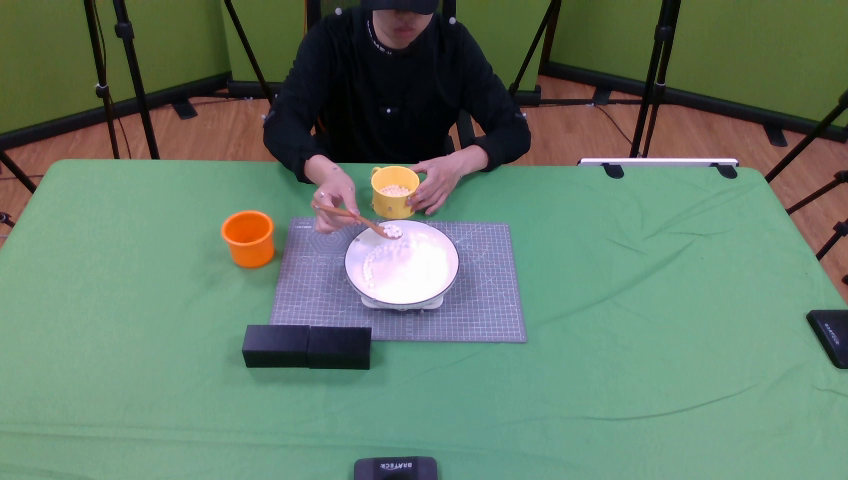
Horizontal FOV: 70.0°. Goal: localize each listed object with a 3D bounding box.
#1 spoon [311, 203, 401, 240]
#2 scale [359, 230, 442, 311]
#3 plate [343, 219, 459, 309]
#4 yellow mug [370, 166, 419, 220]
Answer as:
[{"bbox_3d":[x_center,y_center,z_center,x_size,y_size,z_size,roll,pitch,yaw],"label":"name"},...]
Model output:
[{"bbox_3d":[-0.116,-0.035,1.066,0.195,0.021,0.041,24,20,-41],"label":"spoon"},{"bbox_3d":[-0.043,0.048,1.138,0.149,0.032,0.199,2,45,-3],"label":"scale"},{"bbox_3d":[-0.041,0.046,1.094,0.209,0.038,0.208,2,46,-1],"label":"plate"},{"bbox_3d":[-0.072,-0.108,1.267,0.100,0.064,0.130,-30,54,-30],"label":"yellow mug"}]
